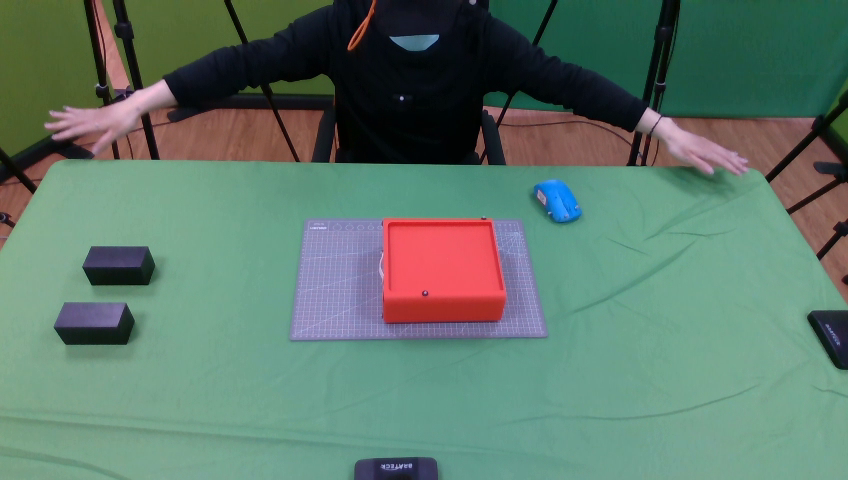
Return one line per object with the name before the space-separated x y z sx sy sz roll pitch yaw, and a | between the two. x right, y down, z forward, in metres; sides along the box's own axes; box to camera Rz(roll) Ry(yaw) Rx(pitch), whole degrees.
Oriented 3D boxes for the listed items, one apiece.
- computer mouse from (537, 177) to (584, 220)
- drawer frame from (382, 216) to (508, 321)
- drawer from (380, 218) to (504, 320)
computer mouse | 0.291 -0.093 1.288 0.063 0.041 0.116 -13 53 -18
drawer frame | 0.029 0.049 1.102 0.214 0.083 0.200 0 46 -5
drawer | 0.026 0.049 1.103 0.212 0.073 0.193 0 46 -4
